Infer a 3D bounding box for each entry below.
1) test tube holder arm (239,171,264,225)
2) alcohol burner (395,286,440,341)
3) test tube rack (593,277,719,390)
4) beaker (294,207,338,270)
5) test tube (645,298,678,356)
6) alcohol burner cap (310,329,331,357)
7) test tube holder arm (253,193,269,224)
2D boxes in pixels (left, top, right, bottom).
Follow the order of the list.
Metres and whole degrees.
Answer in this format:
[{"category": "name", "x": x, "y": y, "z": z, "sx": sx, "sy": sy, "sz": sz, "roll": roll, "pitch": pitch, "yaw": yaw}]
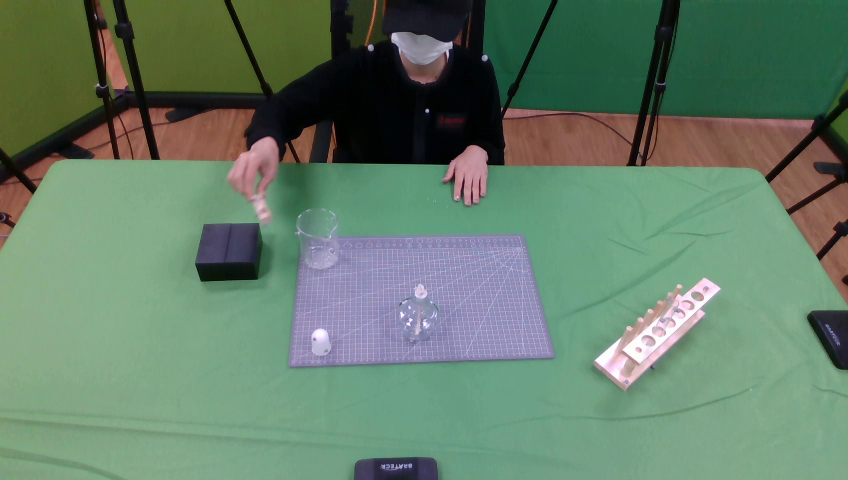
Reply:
[{"category": "test tube holder arm", "x": -0.309, "y": -0.077, "z": 1.078, "sx": 0.013, "sy": 0.015, "sz": 0.177, "roll": -15, "pitch": 39, "yaw": -22}, {"category": "alcohol burner", "x": -0.010, "y": 0.116, "z": 1.018, "sx": 0.078, "sy": 0.119, "sz": 0.077, "roll": 3, "pitch": 47, "yaw": -3}, {"category": "test tube rack", "x": 0.401, "y": 0.148, "z": 1.043, "sx": 0.242, "sy": 0.085, "sz": 0.066, "roll": -30, "pitch": 55, "yaw": -29}, {"category": "beaker", "x": -0.196, "y": 0.003, "z": 1.123, "sx": 0.074, "sy": 0.101, "sz": 0.083, "roll": -23, "pitch": 53, "yaw": -24}, {"category": "test tube", "x": 0.378, "y": 0.143, "z": 0.976, "sx": 0.017, "sy": 0.151, "sz": 0.017, "roll": 1, "pitch": 48, "yaw": -1}, {"category": "alcohol burner cap", "x": -0.173, "y": 0.168, "z": 1.005, "sx": 0.034, "sy": 0.048, "sz": 0.033, "roll": 2, "pitch": 46, "yaw": -2}, {"category": "test tube holder arm", "x": -0.284, "y": -0.055, "z": 1.048, "sx": 0.010, "sy": 0.015, "sz": 0.087, "roll": -15, "pitch": 39, "yaw": -21}]
